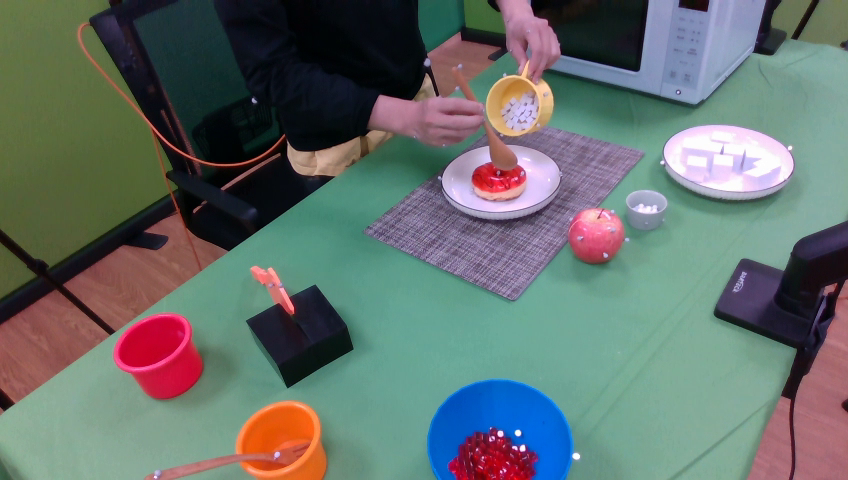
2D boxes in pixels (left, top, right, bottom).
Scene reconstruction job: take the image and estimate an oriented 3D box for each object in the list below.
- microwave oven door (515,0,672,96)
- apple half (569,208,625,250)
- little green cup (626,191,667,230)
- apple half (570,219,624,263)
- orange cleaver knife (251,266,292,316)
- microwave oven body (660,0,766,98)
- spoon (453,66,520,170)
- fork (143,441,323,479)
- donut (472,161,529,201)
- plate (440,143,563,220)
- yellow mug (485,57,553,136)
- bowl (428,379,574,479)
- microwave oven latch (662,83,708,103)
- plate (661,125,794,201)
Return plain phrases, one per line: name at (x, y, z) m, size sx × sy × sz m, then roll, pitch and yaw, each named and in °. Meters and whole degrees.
microwave oven door at (0.343, -0.455, 1.259) m, size 0.353 × 0.245 × 0.039 m, roll 26°, pitch 51°, yaw 33°
apple half at (0.262, -0.014, 0.913) m, size 0.080 × 0.075 × 0.053 m, roll 5°, pitch 37°, yaw 20°
little green cup at (0.352, -0.046, 0.963) m, size 0.061 × 0.039 × 0.061 m, roll -4°, pitch 40°, yaw 4°
apple half at (0.250, 0.009, 0.885) m, size 0.081 × 0.081 × 0.033 m, roll 8°, pitch 39°, yaw 17°
orange cleaver knife at (-0.221, 0.071, 0.873) m, size 0.012 × 0.077 × 0.210 m, roll -25°, pitch 11°, yaw -21°
microwave oven body at (0.472, -0.513, 1.317) m, size 0.438 × 0.261 × 0.327 m, roll 26°, pitch 51°, yaw 34°
spoon at (0.092, -0.181, 0.919) m, size 0.041 × 0.195 × 0.021 m, roll -19°, pitch 30°, yaw 27°
fork at (-0.189, 0.231, 0.631) m, size 0.028 × 0.018 × 0.209 m, roll 35°, pitch 13°, yaw 37°
donut at (0.132, -0.105, 1.043) m, size 0.099 × 0.048 × 0.098 m, roll -5°, pitch 38°, yaw 4°
plate at (0.134, -0.098, 1.052) m, size 0.209 × 0.038 × 0.208 m, roll -4°, pitch 40°, yaw 4°
yellow mug at (0.167, -0.246, 1.032) m, size 0.099 × 0.131 × 0.064 m, roll 24°, pitch 24°, yaw 22°
bowl at (0.082, 0.233, 0.644) m, size 0.151 × 0.077 × 0.150 m, roll -4°, pitch 40°, yaw 4°
microwave oven latch at (0.517, -0.296, 1.204) m, size 0.078 × 0.029 × 0.030 m, roll 27°, pitch 52°, yaw 35°
plate at (0.513, -0.128, 1.035) m, size 0.207 × 0.039 × 0.206 m, roll -4°, pitch 40°, yaw 4°
